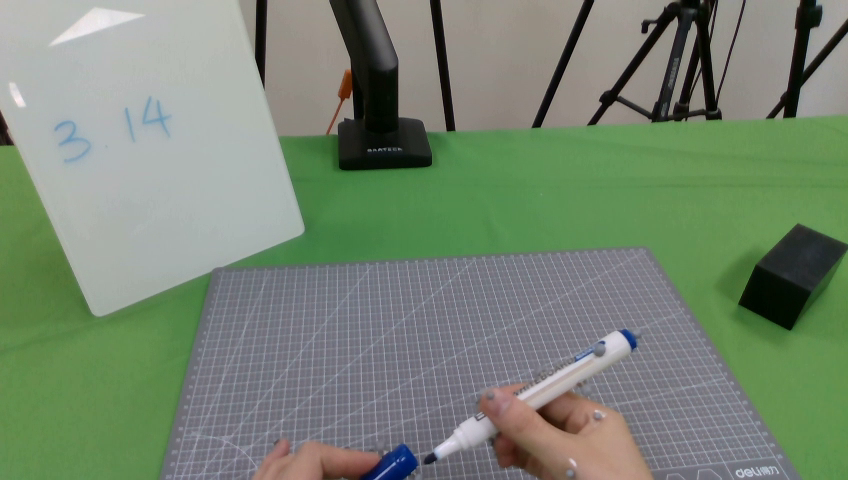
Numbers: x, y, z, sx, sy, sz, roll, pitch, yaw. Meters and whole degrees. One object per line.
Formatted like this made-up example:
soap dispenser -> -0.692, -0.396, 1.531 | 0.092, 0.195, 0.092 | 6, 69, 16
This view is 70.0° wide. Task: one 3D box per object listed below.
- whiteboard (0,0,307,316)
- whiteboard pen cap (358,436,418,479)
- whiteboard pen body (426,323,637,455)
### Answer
whiteboard -> -0.278, -0.123, 0.592 | 0.217, 0.307, 0.142 | -26, 26, -30
whiteboard pen cap -> -0.019, 0.126, 0.341 | 0.033, 0.018, 0.018 | -41, 48, -6
whiteboard pen body -> 0.062, 0.087, 0.349 | 0.141, 0.017, 0.017 | -28, 44, -8
